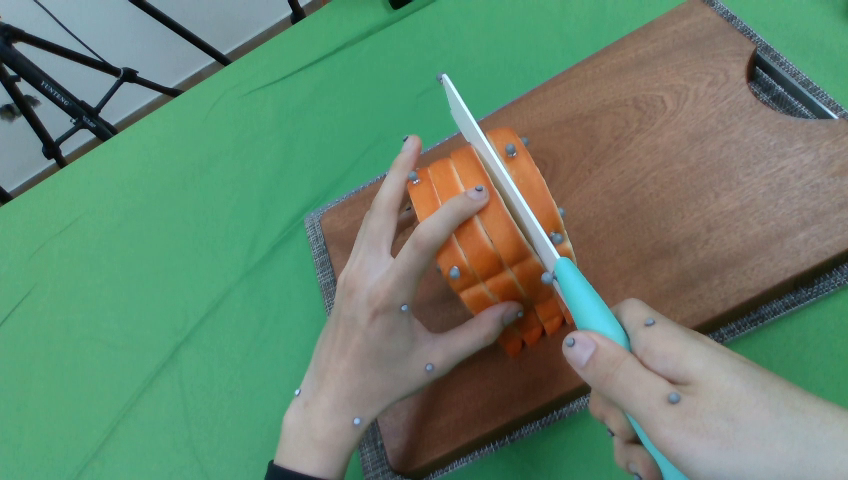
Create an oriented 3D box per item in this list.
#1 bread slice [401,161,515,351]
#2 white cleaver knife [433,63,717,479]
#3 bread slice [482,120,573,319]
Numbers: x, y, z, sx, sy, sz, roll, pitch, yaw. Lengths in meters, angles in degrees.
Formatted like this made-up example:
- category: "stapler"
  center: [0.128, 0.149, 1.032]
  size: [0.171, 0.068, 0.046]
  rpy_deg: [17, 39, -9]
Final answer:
- category: "bread slice"
  center: [0.023, 0.005, 0.419]
  size: [0.018, 0.136, 0.106]
  rpy_deg: [-27, 51, 8]
- category: "white cleaver knife"
  center: [0.072, 0.008, 0.340]
  size: [0.021, 0.066, 0.283]
  rpy_deg: [-28, 64, 4]
- category: "bread slice"
  center: [0.072, -0.017, 0.409]
  size: [0.019, 0.133, 0.103]
  rpy_deg: [-24, 55, 3]
